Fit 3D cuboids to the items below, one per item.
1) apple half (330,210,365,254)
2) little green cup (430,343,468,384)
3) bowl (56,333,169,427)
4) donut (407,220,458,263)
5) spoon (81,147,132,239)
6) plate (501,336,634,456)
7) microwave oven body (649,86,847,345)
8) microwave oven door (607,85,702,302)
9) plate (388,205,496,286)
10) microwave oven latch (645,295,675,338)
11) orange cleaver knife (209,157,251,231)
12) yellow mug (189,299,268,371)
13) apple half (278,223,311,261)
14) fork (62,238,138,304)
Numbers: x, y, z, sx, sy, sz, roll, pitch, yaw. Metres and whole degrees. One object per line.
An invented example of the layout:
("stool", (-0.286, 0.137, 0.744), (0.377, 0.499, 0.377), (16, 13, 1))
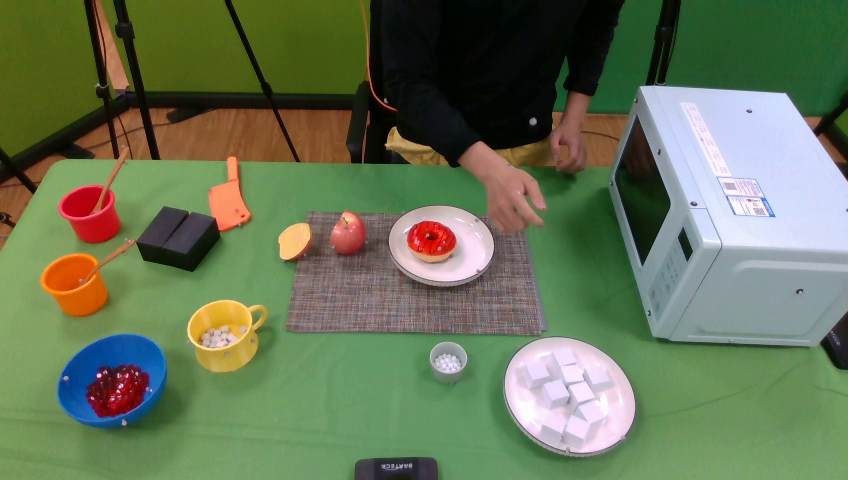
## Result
("apple half", (-0.140, -0.009, 1.157), (0.053, 0.075, 0.080), (17, 43, 8))
("little green cup", (0.039, 0.203, 0.993), (0.061, 0.039, 0.061), (2, 46, -2))
("bowl", (-0.456, 0.223, 0.912), (0.151, 0.077, 0.150), (3, 46, -2))
("donut", (0.016, 0.002, 1.166), (0.099, 0.048, 0.098), (3, 44, -3))
("spoon", (-0.603, -0.089, 1.156), (0.041, 0.022, 0.193), (28, 95, 20))
("plate", (0.225, 0.248, 0.964), (0.208, 0.039, 0.206), (2, 46, -2))
("microwave oven body", (0.568, -0.053, 1.118), (0.326, 0.261, 0.439), (2, 45, -1))
("microwave oven door", (0.423, -0.094, 1.140), (0.039, 0.245, 0.353), (2, 46, -1))
("plate", (0.033, 0.014, 1.171), (0.209, 0.038, 0.208), (2, 46, -2))
("microwave oven latch", (0.412, 0.134, 1.061), (0.030, 0.029, 0.078), (3, 45, 0))
("orange cleaver knife", (-0.409, -0.099, 1.266), (0.077, 0.012, 0.210), (-14, 50, -9))
("yellow mug", (-0.316, 0.148, 1.002), (0.131, 0.064, 0.099), (-33, 56, -31))
("apple half", (-0.241, 0.007, 1.157), (0.081, 0.033, 0.081), (-17, 54, 25))
("fork", (-0.547, 0.053, 1.019), (0.207, 0.019, 0.028), (-36, 41, 23))
